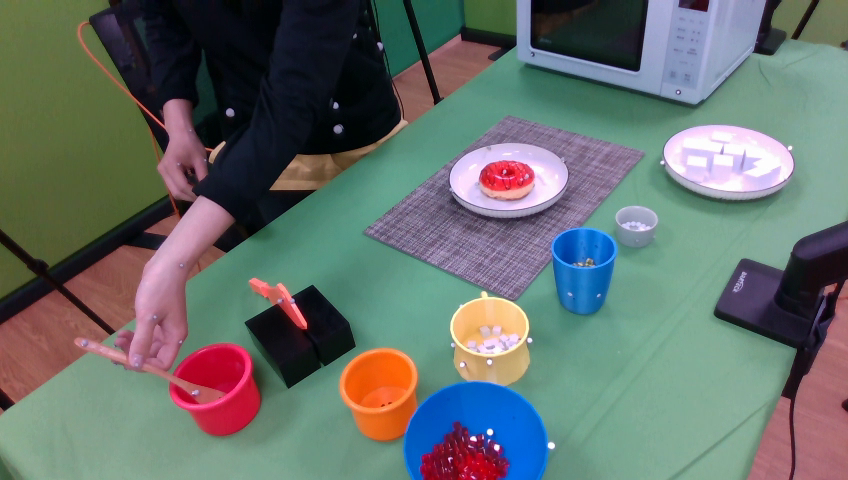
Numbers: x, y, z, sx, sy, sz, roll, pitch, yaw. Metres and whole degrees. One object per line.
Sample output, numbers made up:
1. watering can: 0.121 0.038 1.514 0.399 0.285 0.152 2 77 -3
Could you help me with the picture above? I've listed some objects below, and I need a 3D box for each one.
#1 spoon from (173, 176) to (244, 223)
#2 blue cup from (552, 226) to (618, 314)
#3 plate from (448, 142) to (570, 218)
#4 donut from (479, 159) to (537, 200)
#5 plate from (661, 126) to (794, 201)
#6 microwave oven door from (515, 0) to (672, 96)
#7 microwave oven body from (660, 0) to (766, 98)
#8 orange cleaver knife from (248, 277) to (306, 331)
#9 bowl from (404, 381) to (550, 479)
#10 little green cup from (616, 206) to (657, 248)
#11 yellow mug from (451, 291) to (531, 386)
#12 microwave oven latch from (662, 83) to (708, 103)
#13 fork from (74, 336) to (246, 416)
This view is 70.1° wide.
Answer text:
1. spoon: -0.375 -0.077 1.043 0.192 0.022 0.041 29 74 27
2. blue cup: 0.218 0.047 0.826 0.092 0.101 0.092 -6 40 5
3. plate: 0.148 -0.101 1.053 0.209 0.038 0.208 -4 40 4
4. donut: 0.145 -0.106 1.042 0.099 0.048 0.098 -4 37 4
5. plate: 0.513 -0.127 1.035 0.207 0.039 0.206 -4 40 4
6. microwave oven door: 0.344 -0.455 1.259 0.353 0.245 0.039 26 51 33
7. microwave oven body: 0.473 -0.514 1.317 0.438 0.261 0.327 26 51 34
8. orange cleaver knife: -0.210 0.088 0.856 0.012 0.077 0.210 -29 15 -24
9. bowl: 0.058 0.235 0.645 0.151 0.077 0.150 -4 39 4
10. little green cup: 0.327 -0.019 0.935 0.061 0.039 0.061 -4 40 4
11. yellow mug: 0.085 0.120 0.786 0.100 0.064 0.130 -7 39 1
12. microwave oven latch: 0.518 -0.297 1.204 0.078 0.029 0.030 28 52 35
13. fork: -0.303 0.160 0.707 0.018 0.209 0.028 -30 36 39
